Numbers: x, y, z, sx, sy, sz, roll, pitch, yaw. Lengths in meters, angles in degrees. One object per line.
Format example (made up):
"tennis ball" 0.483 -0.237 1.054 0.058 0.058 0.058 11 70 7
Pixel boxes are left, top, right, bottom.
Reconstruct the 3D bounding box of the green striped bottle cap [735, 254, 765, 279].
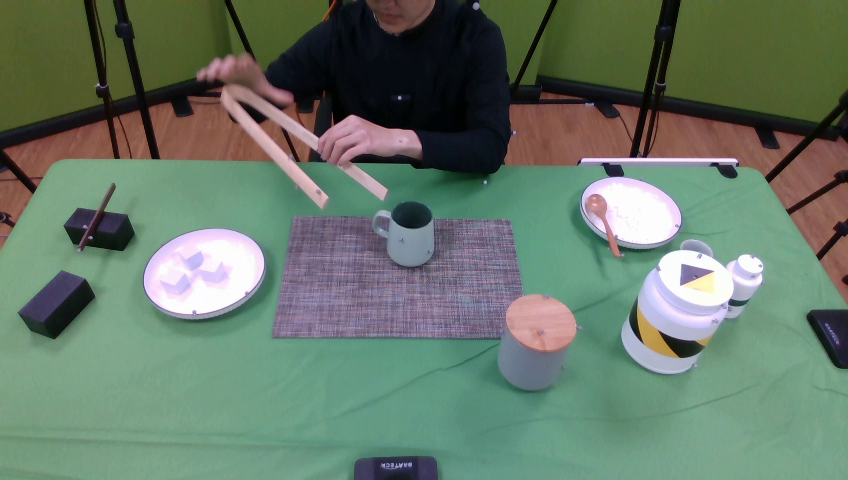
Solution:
"green striped bottle cap" 0.566 0.046 1.051 0.044 0.020 0.044 0 45 0

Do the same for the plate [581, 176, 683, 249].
"plate" 0.430 -0.054 1.267 0.209 0.038 0.208 2 46 -2

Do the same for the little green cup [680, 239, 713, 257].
"little green cup" 0.530 0.033 1.189 0.061 0.039 0.061 2 48 -2

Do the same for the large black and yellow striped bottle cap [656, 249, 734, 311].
"large black and yellow striped bottle cap" 0.419 0.061 0.938 0.115 0.019 0.114 2 47 -2

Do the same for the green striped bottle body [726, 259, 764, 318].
"green striped bottle body" 0.563 0.081 1.089 0.063 0.120 0.063 2 46 -2

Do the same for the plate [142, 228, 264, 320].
"plate" -0.394 0.064 1.095 0.208 0.039 0.206 2 46 -2

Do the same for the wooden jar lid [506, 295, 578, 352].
"wooden jar lid" 0.179 0.129 0.925 0.108 0.021 0.107 2 43 -2

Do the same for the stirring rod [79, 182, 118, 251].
"stirring rod" -0.605 -0.047 1.130 0.006 0.014 0.175 0 47 1

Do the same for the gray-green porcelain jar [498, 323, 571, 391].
"gray-green porcelain jar" 0.176 0.172 0.971 0.106 0.127 0.105 2 46 -2

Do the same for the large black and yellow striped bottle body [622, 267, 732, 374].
"large black and yellow striped bottle body" 0.415 0.119 0.997 0.131 0.185 0.130 2 46 -2

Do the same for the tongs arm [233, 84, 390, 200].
"tongs arm" -0.214 -0.188 1.132 0.386 0.028 0.028 36 35 17

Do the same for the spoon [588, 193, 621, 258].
"spoon" 0.367 -0.032 1.220 0.041 0.022 0.192 1 38 -1

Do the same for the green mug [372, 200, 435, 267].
"green mug" -0.040 -0.016 1.146 0.125 0.105 0.092 18 48 13

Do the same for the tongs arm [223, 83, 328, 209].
"tongs arm" -0.264 -0.176 1.068 0.051 0.026 0.382 -11 45 -47
